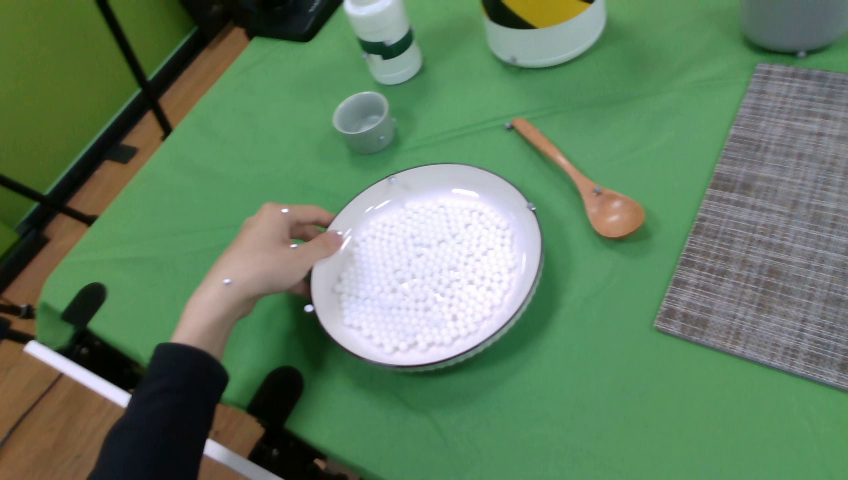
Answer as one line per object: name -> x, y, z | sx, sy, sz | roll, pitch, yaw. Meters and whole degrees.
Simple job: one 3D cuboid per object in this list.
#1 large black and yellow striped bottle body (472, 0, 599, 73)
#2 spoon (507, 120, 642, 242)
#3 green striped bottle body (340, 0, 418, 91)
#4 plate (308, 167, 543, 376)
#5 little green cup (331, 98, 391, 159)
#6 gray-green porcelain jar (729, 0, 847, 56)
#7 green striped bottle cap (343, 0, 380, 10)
large black and yellow striped bottle body -> 0.108, -0.281, 0.619 | 0.130, 0.186, 0.129 | -9, 54, 13
spoon -> 0.131, -0.063, 0.561 | 0.041, 0.022, 0.191 | -41, 53, 7
green striped bottle body -> -0.052, -0.233, 0.679 | 0.063, 0.120, 0.062 | -9, 54, 13
plate -> 0.002, 0.026, 0.533 | 0.209, 0.038, 0.207 | -9, 54, 12
little green cup -> -0.066, -0.119, 0.656 | 0.061, 0.039, 0.061 | -9, 53, 12
gray-green porcelain jar -> 0.341, -0.244, 0.552 | 0.105, 0.128, 0.105 | -9, 54, 13
green striped bottle cap -> -0.066, -0.262, 0.639 | 0.044, 0.020, 0.044 | -7, 57, 11
